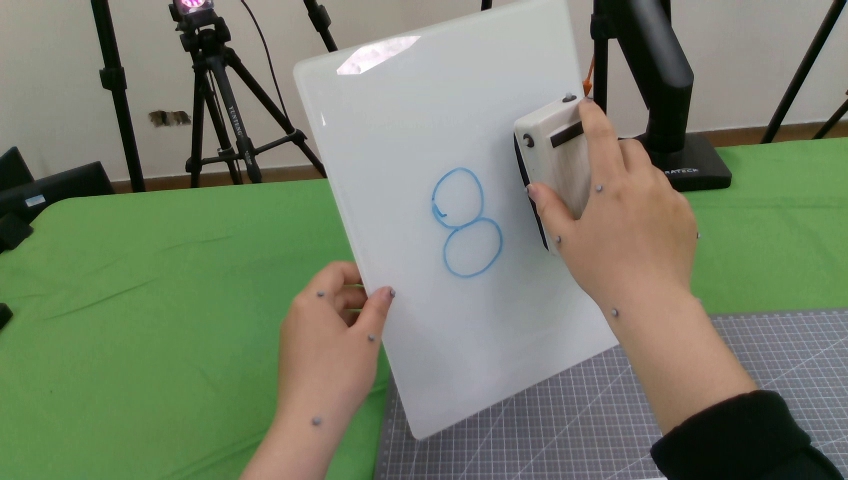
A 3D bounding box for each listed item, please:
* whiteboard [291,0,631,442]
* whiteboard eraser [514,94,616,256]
[{"bbox_3d":[0.027,-0.027,0.532,0.217,0.307,0.143,-21,18,-15],"label":"whiteboard"},{"bbox_3d":[0.106,-0.048,0.458,0.055,0.113,0.041,-27,23,-17],"label":"whiteboard eraser"}]
